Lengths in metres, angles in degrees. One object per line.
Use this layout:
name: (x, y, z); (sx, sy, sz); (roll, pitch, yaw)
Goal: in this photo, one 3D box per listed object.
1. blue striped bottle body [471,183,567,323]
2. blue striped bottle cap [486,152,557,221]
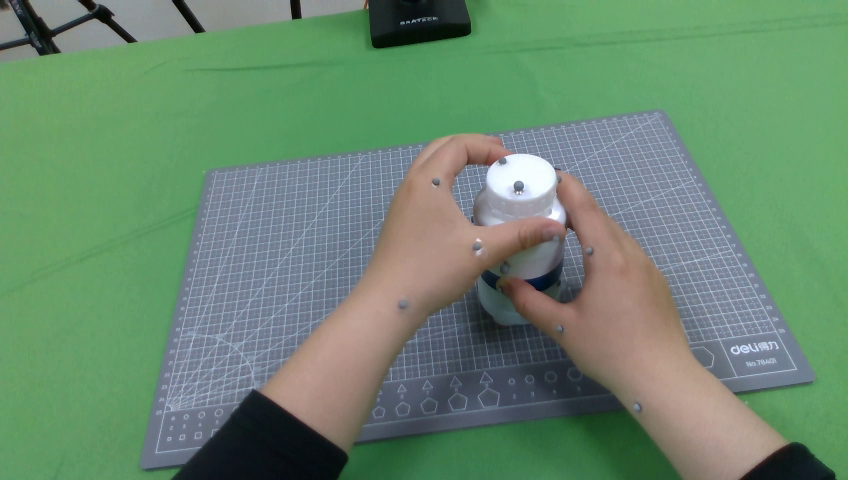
blue striped bottle body: (0.066, 0.000, 0.419); (0.063, 0.122, 0.062); (-4, 49, 5)
blue striped bottle cap: (0.061, -0.034, 0.380); (0.044, 0.021, 0.044); (-4, 49, 5)
